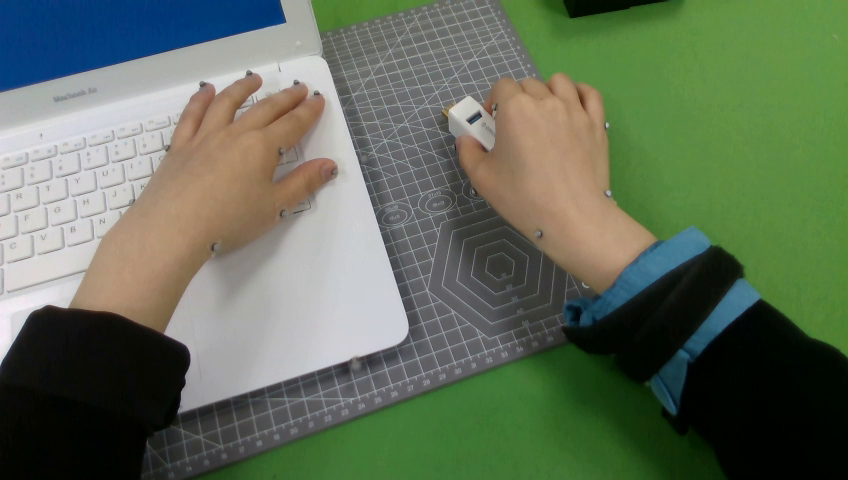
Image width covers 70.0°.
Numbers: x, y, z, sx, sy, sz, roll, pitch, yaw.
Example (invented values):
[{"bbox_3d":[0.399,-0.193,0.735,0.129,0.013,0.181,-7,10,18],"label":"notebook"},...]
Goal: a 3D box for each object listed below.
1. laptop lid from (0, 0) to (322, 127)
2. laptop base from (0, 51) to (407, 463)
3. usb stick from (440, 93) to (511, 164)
[{"bbox_3d":[-0.261,-0.183,0.367,0.357,0.244,0.013,-17,39,-6],"label":"laptop lid"},{"bbox_3d":[-0.209,0.008,0.392,0.355,0.023,0.233,-16,68,-7],"label":"laptop base"},{"bbox_3d":[0.033,-0.082,0.425,0.021,0.027,0.058,-38,64,-13],"label":"usb stick"}]
